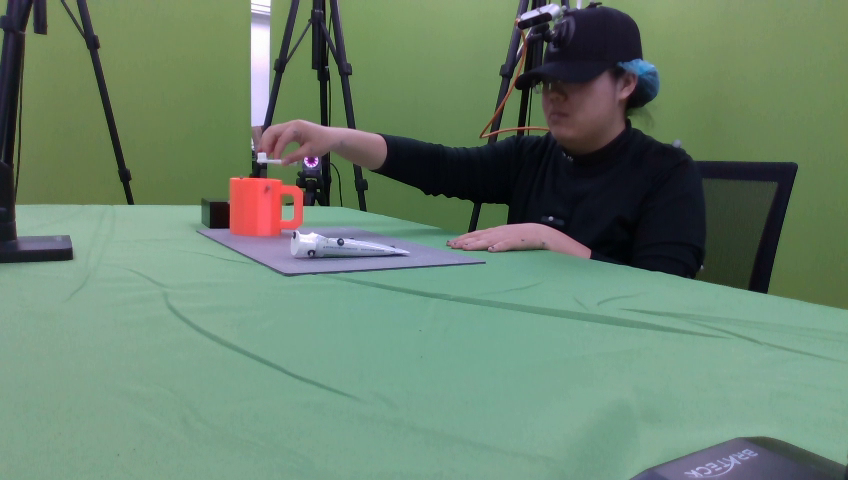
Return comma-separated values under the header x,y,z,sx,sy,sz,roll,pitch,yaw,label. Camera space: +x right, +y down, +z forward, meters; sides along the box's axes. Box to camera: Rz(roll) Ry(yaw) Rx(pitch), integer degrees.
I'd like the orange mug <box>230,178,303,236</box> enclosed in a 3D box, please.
x,y,z,sx,sy,sz,roll,pitch,yaw,label
-0.276,-0.060,1.058,0.126,0.101,0.083,-2,8,-5,orange mug

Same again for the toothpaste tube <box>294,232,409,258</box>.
x,y,z,sx,sy,sz,roll,pitch,yaw,label
-0.103,0.010,0.853,0.166,0.034,0.055,3,11,-34,toothpaste tube

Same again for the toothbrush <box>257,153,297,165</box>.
x,y,z,sx,sy,sz,roll,pitch,yaw,label
-0.254,-0.139,1.051,0.014,0.016,0.182,-7,5,6,toothbrush

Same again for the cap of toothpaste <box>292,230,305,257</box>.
x,y,z,sx,sy,sz,roll,pitch,yaw,label
-0.169,0.005,0.812,0.011,0.037,0.037,6,4,-30,cap of toothpaste
